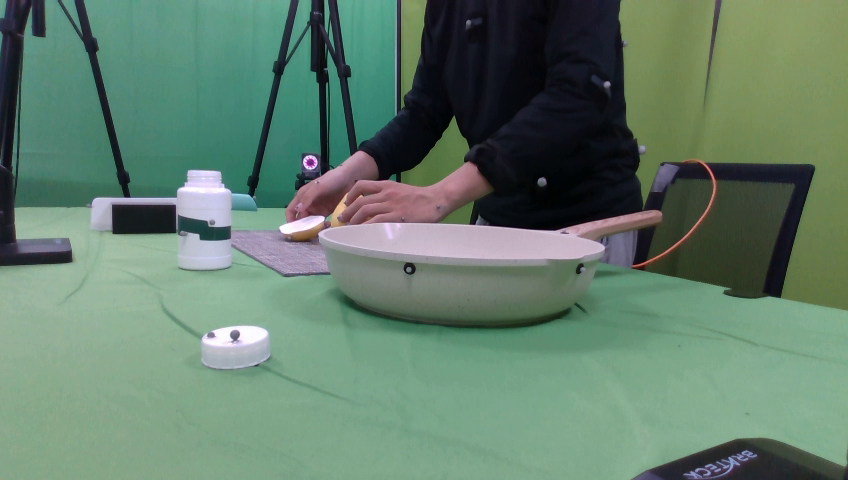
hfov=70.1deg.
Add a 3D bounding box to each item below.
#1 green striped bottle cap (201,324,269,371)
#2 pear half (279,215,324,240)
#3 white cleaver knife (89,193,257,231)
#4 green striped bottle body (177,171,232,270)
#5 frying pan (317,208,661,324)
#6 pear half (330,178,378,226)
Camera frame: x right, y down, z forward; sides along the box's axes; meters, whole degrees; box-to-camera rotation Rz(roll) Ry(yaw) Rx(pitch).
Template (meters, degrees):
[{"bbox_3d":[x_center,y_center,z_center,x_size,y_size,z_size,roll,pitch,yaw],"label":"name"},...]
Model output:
[{"bbox_3d":[-0.129,0.073,0.415,0.044,0.020,0.044,2,8,0],"label":"green striped bottle cap"},{"bbox_3d":[-0.206,-0.017,1.018,0.087,0.031,0.071,-6,16,36],"label":"pear half"},{"bbox_3d":[-0.454,-0.052,1.114,0.288,0.066,0.021,-4,14,-27],"label":"white cleaver knife"},{"bbox_3d":[-0.273,-0.026,0.752,0.063,0.119,0.063,2,7,0],"label":"green striped bottle body"},{"bbox_3d":[0.121,0.006,0.691,0.490,0.102,0.305,-13,15,-33],"label":"frying pan"},{"bbox_3d":[-0.103,-0.042,0.946,0.077,0.110,0.055,-8,13,-43],"label":"pear half"}]
